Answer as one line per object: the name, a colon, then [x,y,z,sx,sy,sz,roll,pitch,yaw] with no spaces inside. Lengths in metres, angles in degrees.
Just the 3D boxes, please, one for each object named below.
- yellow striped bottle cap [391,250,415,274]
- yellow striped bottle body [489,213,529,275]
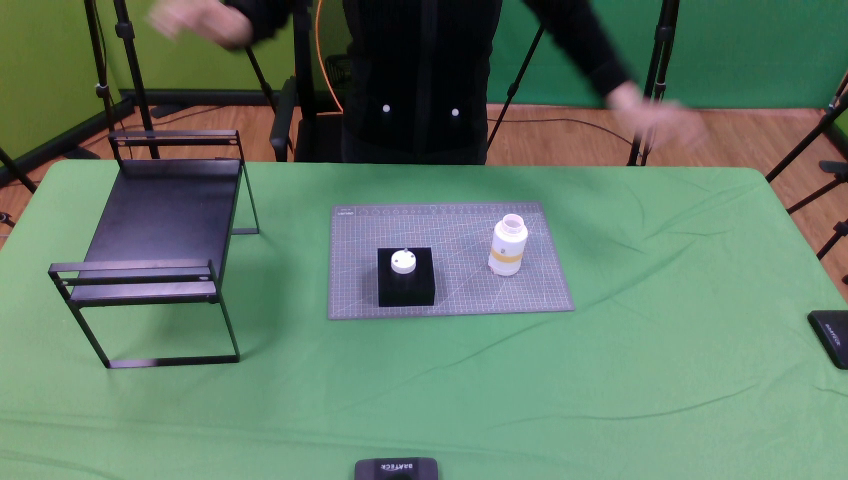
yellow striped bottle cap: [-0.037,0.039,1.087,0.044,0.019,0.044,2,44,-2]
yellow striped bottle body: [0.159,0.005,1.130,0.063,0.121,0.062,2,46,-2]
